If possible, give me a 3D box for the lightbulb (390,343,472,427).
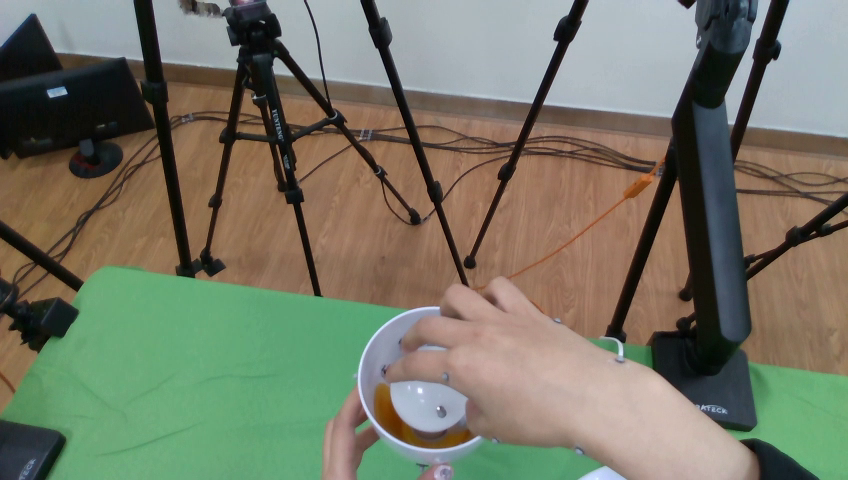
[{"bbox_3d":[0.005,0.116,0.462,0.059,0.108,0.059,0,62,0],"label":"lightbulb"}]

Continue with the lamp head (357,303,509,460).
[{"bbox_3d":[0.011,0.125,0.486,0.112,0.124,0.111,-3,56,4],"label":"lamp head"}]

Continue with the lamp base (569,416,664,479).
[{"bbox_3d":[0.217,0.266,0.610,0.161,0.182,0.177,-3,49,-3],"label":"lamp base"}]
